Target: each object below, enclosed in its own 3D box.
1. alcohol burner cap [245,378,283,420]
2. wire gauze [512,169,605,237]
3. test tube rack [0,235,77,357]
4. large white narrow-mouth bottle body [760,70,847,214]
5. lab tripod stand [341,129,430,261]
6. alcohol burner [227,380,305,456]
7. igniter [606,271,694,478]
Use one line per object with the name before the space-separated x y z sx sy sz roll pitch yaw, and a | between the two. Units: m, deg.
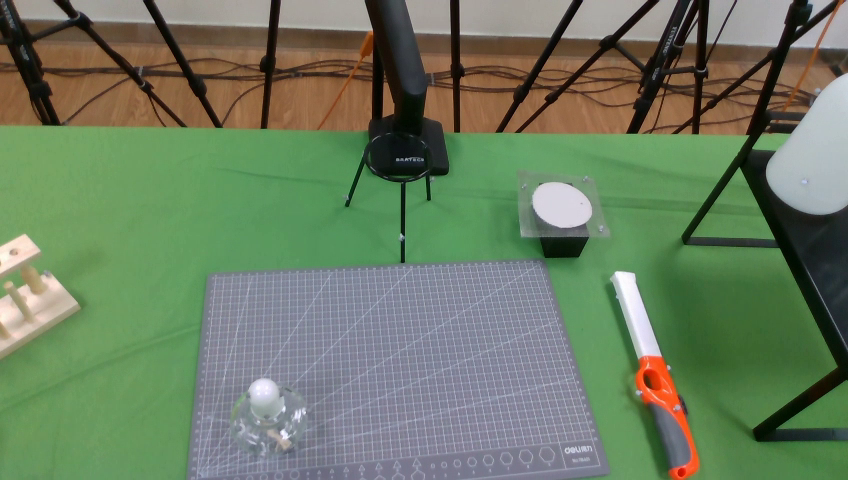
alcohol burner cap | -0.157 0.152 0.585 0.034 0.048 0.033 2 57 -3
wire gauze | 0.186 -0.051 0.851 0.121 0.011 0.124 4 51 -5
test tube rack | -0.512 0.103 0.638 0.066 0.086 0.242 38 56 20
large white narrow-mouth bottle body | 0.463 -0.124 0.661 0.102 0.196 0.101 4 51 -5
lab tripod stand | -0.041 -0.067 0.812 0.149 0.132 0.147 5 52 -6
alcohol burner | -0.161 0.173 0.614 0.078 0.120 0.077 5 50 -6
igniter | 0.277 0.155 0.753 0.057 0.025 0.273 7 51 -16
